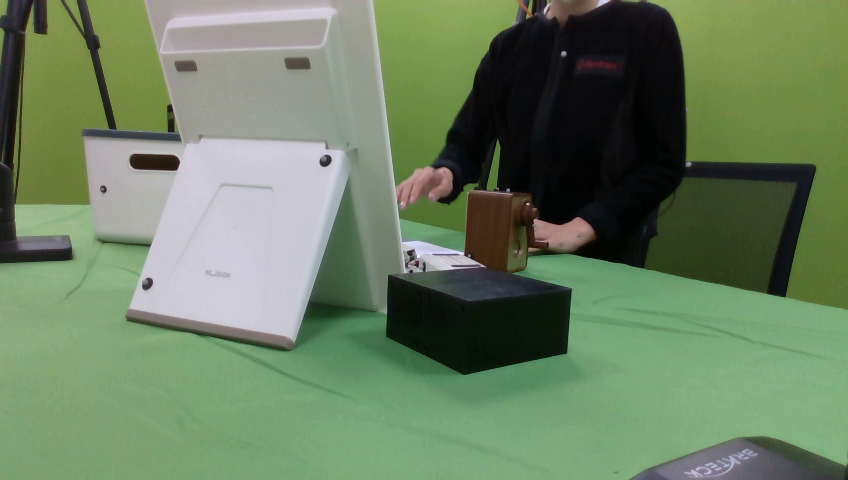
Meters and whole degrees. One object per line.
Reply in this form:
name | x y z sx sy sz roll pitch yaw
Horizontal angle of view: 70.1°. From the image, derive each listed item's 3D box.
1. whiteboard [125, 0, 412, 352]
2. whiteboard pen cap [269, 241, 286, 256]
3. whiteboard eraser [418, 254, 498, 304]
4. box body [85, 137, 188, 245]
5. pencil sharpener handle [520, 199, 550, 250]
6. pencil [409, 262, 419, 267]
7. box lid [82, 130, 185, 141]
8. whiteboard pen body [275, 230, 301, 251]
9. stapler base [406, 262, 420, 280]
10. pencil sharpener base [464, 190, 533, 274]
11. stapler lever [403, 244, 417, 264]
whiteboard | -0.151 -0.050 0.471 0.216 0.305 0.144 6 27 24
whiteboard pen cap | -0.202 0.012 0.836 0.018 0.018 0.033 2 9 -1
whiteboard eraser | 0.033 0.040 0.631 0.056 0.042 0.112 3 6 -15
box body | -0.340 -0.088 1.022 0.254 0.160 0.364 4 7 11
pencil sharpener handle | 0.147 -0.019 0.785 0.030 0.068 0.036 8 25 36
pencil | 0.042 0.028 0.848 0.012 0.012 0.195 10 10 43
box lid | -0.337 -0.161 1.011 0.263 0.015 0.372 4 7 11
whiteboard pen body | -0.203 0.002 0.894 0.017 0.017 0.140 2 9 -1
stapler base | -0.069 0.027 0.759 0.130 0.024 0.041 9 13 23
pencil sharpener base | 0.103 -0.012 0.813 0.076 0.107 0.061 8 9 36
stapler lever | -0.066 0.003 0.755 0.117 0.040 0.027 9 13 23
